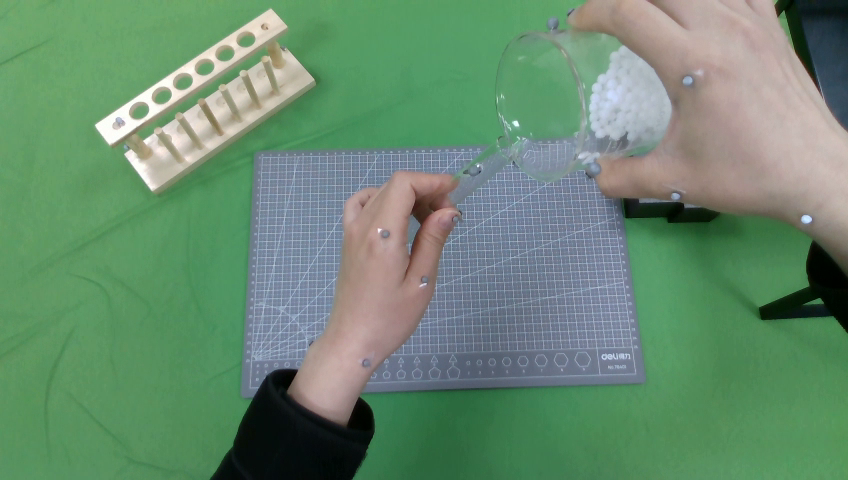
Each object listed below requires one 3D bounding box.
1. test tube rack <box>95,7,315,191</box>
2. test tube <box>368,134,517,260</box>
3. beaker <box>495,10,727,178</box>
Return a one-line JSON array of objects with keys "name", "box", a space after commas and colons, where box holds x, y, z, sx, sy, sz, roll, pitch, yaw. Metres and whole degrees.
[{"name": "test tube rack", "box": [-0.255, -0.168, 0.731, 0.242, 0.085, 0.066, -38, 76, -11]}, {"name": "test tube", "box": [0.005, -0.022, 0.390, 0.017, 0.150, 0.017, 20, 54, -29]}, {"name": "beaker", "box": [0.098, -0.078, 0.320, 0.100, 0.084, 0.073, -16, 76, -21]}]
